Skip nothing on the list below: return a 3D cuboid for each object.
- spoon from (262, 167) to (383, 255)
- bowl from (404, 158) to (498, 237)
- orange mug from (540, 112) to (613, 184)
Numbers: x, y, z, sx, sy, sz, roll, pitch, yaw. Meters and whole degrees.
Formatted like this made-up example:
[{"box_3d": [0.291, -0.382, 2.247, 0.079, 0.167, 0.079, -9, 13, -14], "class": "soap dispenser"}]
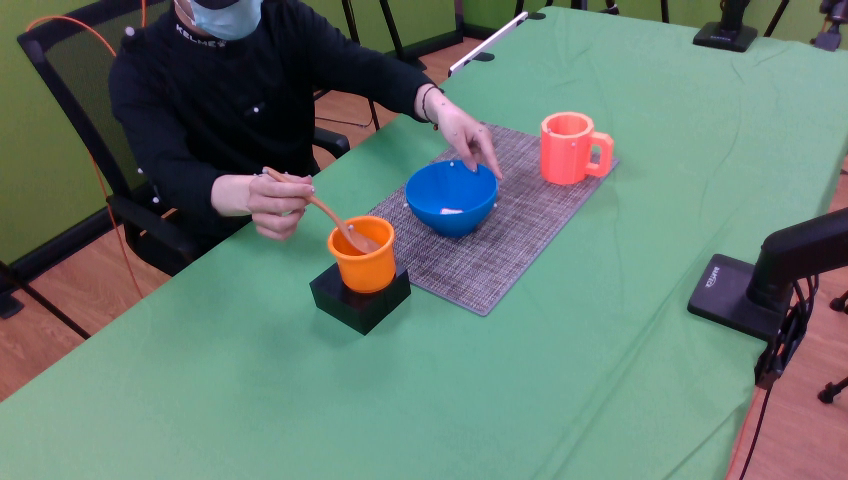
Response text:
[{"box_3d": [-0.133, -0.038, 0.808, 0.021, 0.195, 0.041, -42, 21, 18], "class": "spoon"}, {"box_3d": [0.046, -0.059, 0.981, 0.151, 0.077, 0.150, -4, 41, 4], "class": "bowl"}, {"box_3d": [0.263, -0.157, 1.050, 0.125, 0.101, 0.083, 14, 45, 29], "class": "orange mug"}]
